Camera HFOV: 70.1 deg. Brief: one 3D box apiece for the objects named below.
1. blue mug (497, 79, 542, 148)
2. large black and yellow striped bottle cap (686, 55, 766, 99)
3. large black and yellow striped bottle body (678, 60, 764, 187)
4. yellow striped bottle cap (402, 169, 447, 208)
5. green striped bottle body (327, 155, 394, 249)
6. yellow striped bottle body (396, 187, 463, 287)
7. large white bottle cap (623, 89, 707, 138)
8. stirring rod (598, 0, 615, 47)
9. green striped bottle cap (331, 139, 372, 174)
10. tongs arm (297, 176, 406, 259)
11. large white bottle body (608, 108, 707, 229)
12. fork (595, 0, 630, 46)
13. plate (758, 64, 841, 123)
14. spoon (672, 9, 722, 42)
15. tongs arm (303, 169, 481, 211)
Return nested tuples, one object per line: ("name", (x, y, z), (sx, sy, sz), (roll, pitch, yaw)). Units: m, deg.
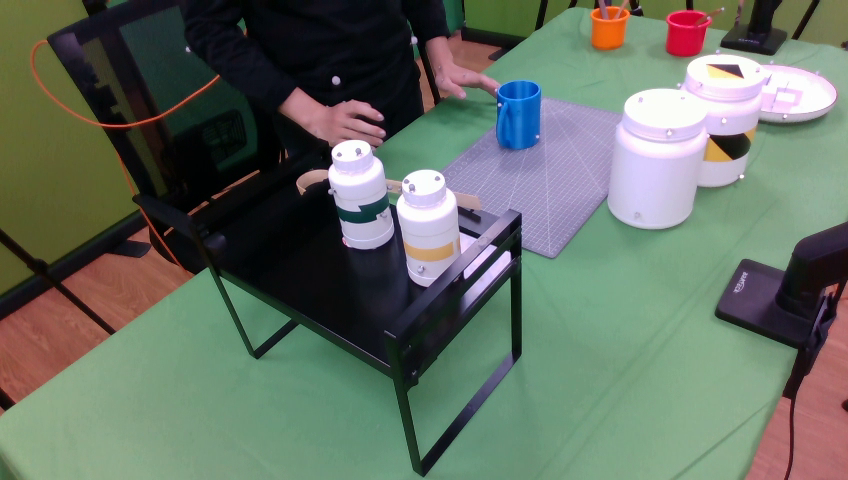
("blue mug", (0.175, -0.234, 1.156), (0.081, 0.106, 0.117), (24, 50, 32))
("large black and yellow striped bottle cap", (0.474, -0.258, 0.952), (0.115, 0.019, 0.114), (-5, 41, 5))
("large black and yellow striped bottle body", (0.482, -0.196, 1.008), (0.131, 0.185, 0.130), (-4, 41, 4))
("yellow striped bottle cap", (0.000, -0.052, 0.605), (0.044, 0.019, 0.044), (-5, 42, 5))
("green striped bottle body", (-0.073, -0.053, 0.699), (0.063, 0.120, 0.063), (-5, 41, 4))
("yellow striped bottle body", (0.006, -0.013, 0.638), (0.063, 0.121, 0.062), (-5, 41, 4))
("large white bottle cap", (0.352, -0.187, 0.886), (0.115, 0.018, 0.114), (-4, 41, 4))
("stirring rod", (0.437, -0.551, 1.462), (0.014, 0.006, 0.175), (-11, 83, 1))
("green striped bottle cap", (-0.080, -0.092, 0.665), (0.044, 0.020, 0.044), (-3, 40, 3))
("tongs arm", (-0.127, -0.042, 1.007), (0.028, 0.028, 0.384), (-37, 38, -20))
("large white bottle body", (0.361, -0.123, 0.942), (0.130, 0.185, 0.130), (-5, 41, 4))
("fork", (0.480, -0.556, 1.453), (0.028, 0.019, 0.207), (41, 103, 40))
("plate", (0.694, -0.283, 1.189), (0.207, 0.039, 0.206), (-4, 40, 4))
("spoon", (0.606, -0.476, 1.345), (0.042, 0.021, 0.193), (-6, -3, -2))
("tongs arm", (-0.070, -0.086, 1.048), (0.381, 0.027, 0.051), (16, 47, 38))
